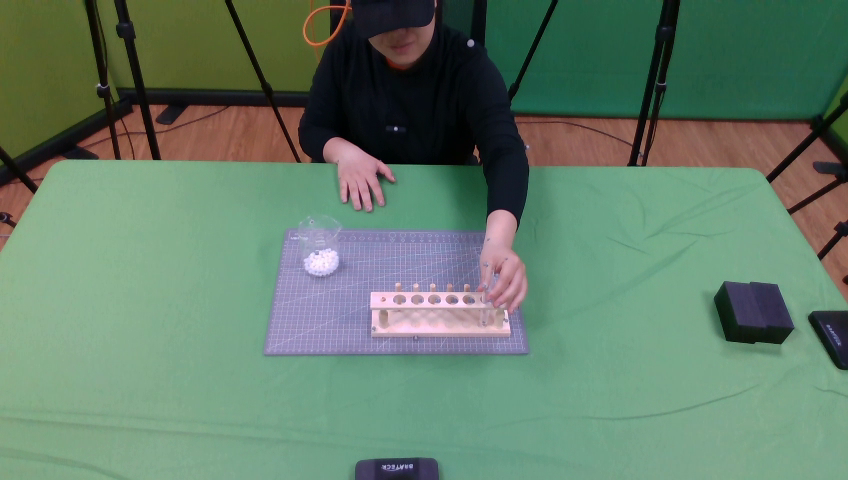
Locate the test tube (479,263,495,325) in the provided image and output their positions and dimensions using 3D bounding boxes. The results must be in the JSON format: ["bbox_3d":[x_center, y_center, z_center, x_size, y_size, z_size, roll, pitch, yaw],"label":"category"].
[{"bbox_3d":[0.103,0.092,0.993,0.017,0.151,0.017,0,47,0],"label":"test tube"}]

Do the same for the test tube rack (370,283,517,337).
[{"bbox_3d":[0.030,0.116,1.041,0.242,0.085,0.066,1,46,-4],"label":"test tube rack"}]

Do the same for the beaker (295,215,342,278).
[{"bbox_3d":[-0.191,0.013,1.114,0.084,0.101,0.073,-12,49,-17],"label":"beaker"}]
